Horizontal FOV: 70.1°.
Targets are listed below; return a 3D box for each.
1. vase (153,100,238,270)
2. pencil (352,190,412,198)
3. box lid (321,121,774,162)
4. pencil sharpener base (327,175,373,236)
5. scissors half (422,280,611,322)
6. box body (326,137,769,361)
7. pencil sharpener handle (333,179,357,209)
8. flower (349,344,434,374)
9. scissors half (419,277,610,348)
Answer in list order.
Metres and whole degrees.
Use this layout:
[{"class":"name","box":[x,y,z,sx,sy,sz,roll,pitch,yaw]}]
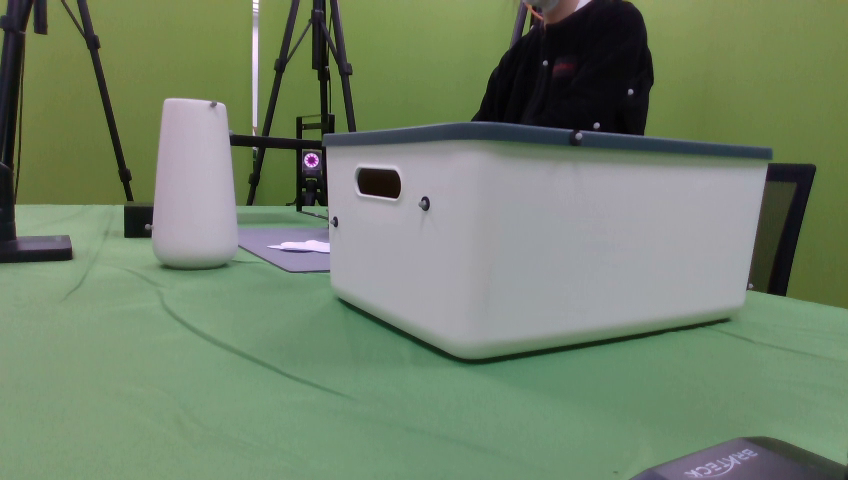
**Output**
[{"class":"vase","box":[-0.278,-0.066,0.736,0.098,0.200,0.098,2,9,0]},{"class":"pencil","box":[-0.076,-0.080,1.025,0.012,0.012,0.193,-3,7,-35]},{"class":"box lid","box":[0.113,-0.085,0.573,0.373,0.015,0.262,-2,7,-33]},{"class":"pencil sharpener base","box":[-0.139,-0.065,1.119,0.062,0.107,0.076,-2,8,-31]},{"class":"scissors half","box":[0.073,0.057,0.524,0.174,0.040,0.013,5,39,30]},{"class":"box body","box":[0.112,-0.010,0.583,0.366,0.160,0.253,-2,8,-33]},{"class":"pencil sharpener handle","box":[-0.156,-0.088,1.165,0.036,0.068,0.030,-44,27,-18]},{"class":"flower","box":[0.103,0.072,0.592,0.362,0.044,0.038,-17,44,-9]},{"class":"scissors half","box":[0.076,0.067,0.533,0.174,0.040,0.013,14,50,24]}]
